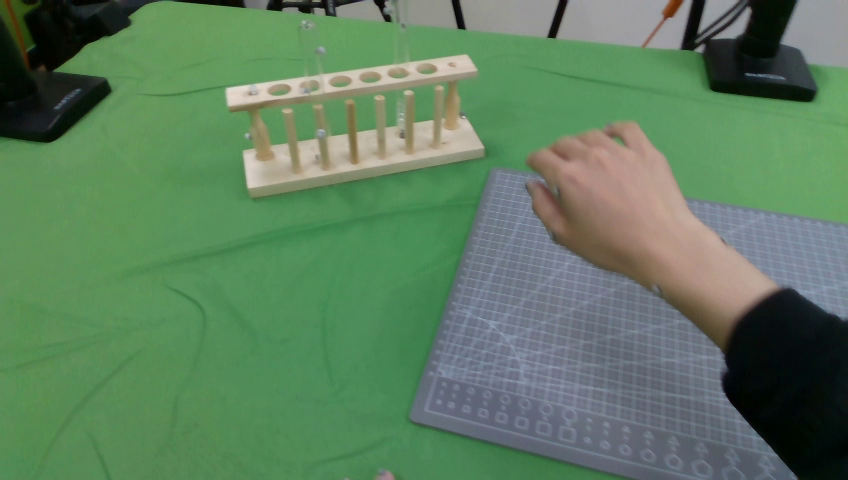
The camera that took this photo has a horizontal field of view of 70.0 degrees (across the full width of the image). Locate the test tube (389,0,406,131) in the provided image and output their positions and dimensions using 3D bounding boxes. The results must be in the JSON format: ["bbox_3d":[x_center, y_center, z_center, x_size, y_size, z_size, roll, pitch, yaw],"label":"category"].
[{"bbox_3d":[-0.025,-0.173,0.595,0.017,0.151,0.017,1,44,-1],"label":"test tube"}]

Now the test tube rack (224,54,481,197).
[{"bbox_3d":[-0.066,-0.117,0.610,0.243,0.086,0.066,-12,45,-11],"label":"test tube rack"}]

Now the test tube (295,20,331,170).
[{"bbox_3d":[-0.101,-0.128,0.558,0.017,0.152,0.017,0,44,0],"label":"test tube"}]
